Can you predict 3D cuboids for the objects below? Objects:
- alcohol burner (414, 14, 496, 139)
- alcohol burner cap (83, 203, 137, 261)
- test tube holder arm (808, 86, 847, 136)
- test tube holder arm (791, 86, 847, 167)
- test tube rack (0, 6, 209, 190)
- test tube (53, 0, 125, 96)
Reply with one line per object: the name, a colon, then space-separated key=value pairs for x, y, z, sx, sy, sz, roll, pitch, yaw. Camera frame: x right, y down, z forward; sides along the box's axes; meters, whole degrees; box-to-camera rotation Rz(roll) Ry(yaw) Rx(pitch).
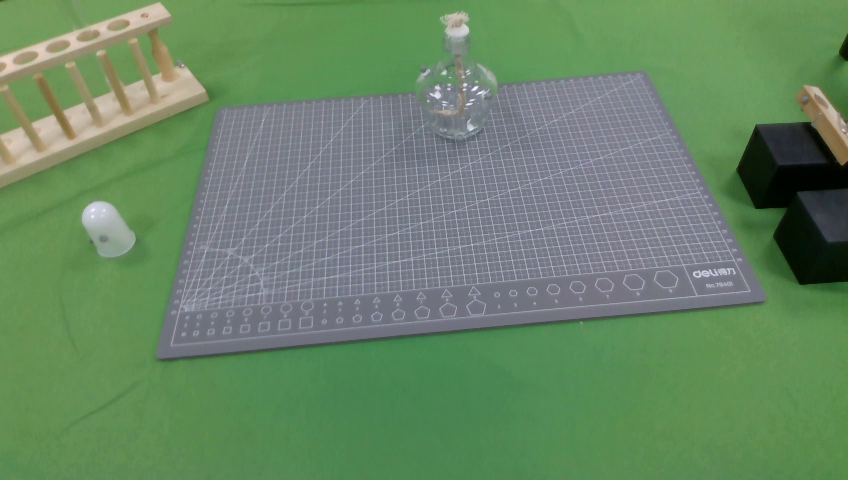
alcohol burner: x=0.028 y=-0.153 z=0.557 sx=0.078 sy=0.120 sz=0.077 roll=-1 pitch=50 yaw=1
alcohol burner cap: x=-0.264 y=-0.009 z=0.504 sx=0.034 sy=0.048 sz=0.033 roll=-1 pitch=49 yaw=2
test tube holder arm: x=0.332 y=-0.059 z=0.459 sx=0.013 sy=0.015 sz=0.176 roll=-5 pitch=50 yaw=-3
test tube holder arm: x=0.322 y=-0.093 z=0.488 sx=0.010 sy=0.015 sz=0.087 roll=-4 pitch=50 yaw=-2
test tube rack: x=-0.348 y=-0.137 z=0.590 sx=0.242 sy=0.086 sz=0.066 roll=-30 pitch=54 yaw=-21
test tube: x=-0.329 y=-0.204 z=0.577 sx=0.017 sy=0.152 sz=0.017 roll=-8 pitch=43 yaw=8
